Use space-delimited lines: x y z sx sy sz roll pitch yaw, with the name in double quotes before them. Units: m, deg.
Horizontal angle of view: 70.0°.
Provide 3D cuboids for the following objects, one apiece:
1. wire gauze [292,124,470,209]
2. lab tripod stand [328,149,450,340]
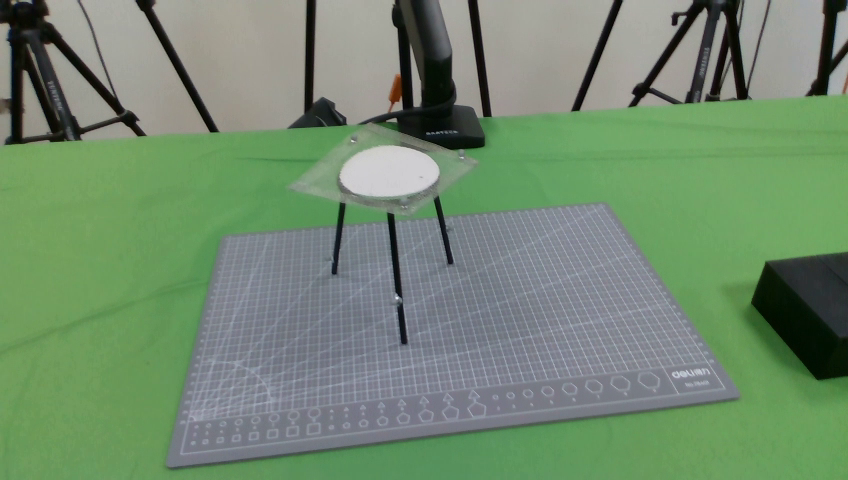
"wire gauze" -0.030 -0.068 0.506 0.125 0.011 0.120 12 33 5
"lab tripod stand" -0.030 -0.004 0.559 0.148 0.132 0.147 1 37 0
